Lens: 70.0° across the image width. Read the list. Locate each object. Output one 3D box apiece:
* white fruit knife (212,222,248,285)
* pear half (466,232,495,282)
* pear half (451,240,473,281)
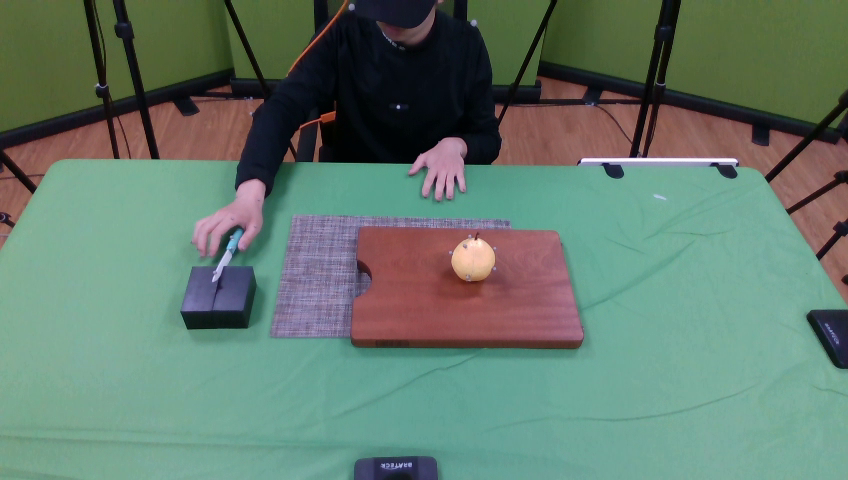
[{"bbox_3d":[-0.355,0.020,1.111,0.016,0.027,0.206,-2,30,1],"label":"white fruit knife"},{"bbox_3d":[0.100,0.024,1.085,0.056,0.110,0.076,-11,51,-15],"label":"pear half"},{"bbox_3d":[0.065,0.035,1.085,0.031,0.088,0.070,-11,51,-14],"label":"pear half"}]
